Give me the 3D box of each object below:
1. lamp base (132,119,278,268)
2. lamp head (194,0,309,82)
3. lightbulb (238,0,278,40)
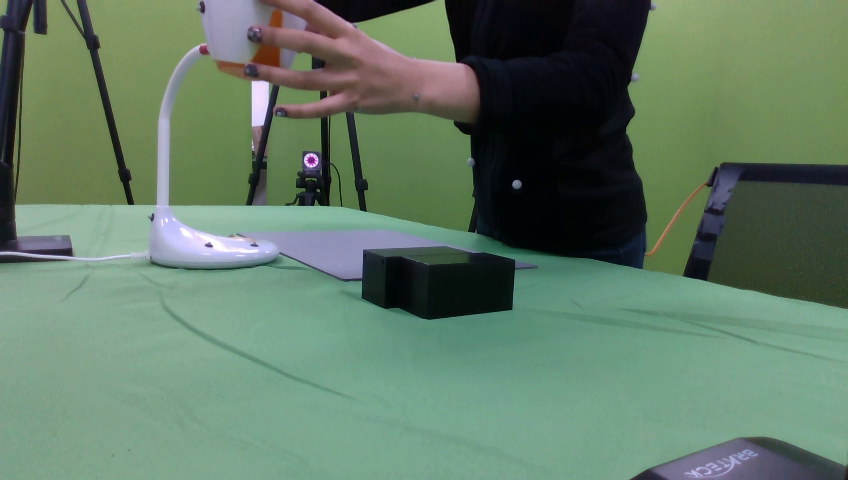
[{"bbox_3d":[-0.279,-0.061,0.770,0.160,0.180,0.180,9,13,44],"label":"lamp base"},{"bbox_3d":[-0.166,-0.213,0.571,0.112,0.123,0.112,9,9,-1],"label":"lamp head"},{"bbox_3d":[-0.153,-0.242,0.568,0.059,0.107,0.059,11,1,0],"label":"lightbulb"}]
